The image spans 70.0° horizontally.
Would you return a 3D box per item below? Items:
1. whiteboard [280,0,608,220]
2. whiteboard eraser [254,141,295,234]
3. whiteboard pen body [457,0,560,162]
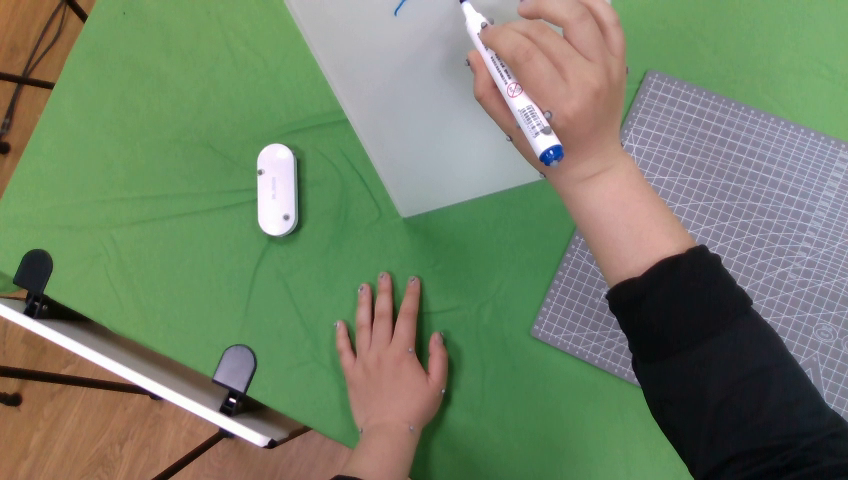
[{"bbox_3d":[0.031,-0.178,0.532,0.217,0.308,0.142,-16,61,7],"label":"whiteboard"},{"bbox_3d":[-0.163,-0.057,0.655,0.041,0.019,0.101,-3,84,6],"label":"whiteboard eraser"},{"bbox_3d":[0.049,-0.108,0.384,0.017,0.017,0.139,-26,69,5],"label":"whiteboard pen body"}]
